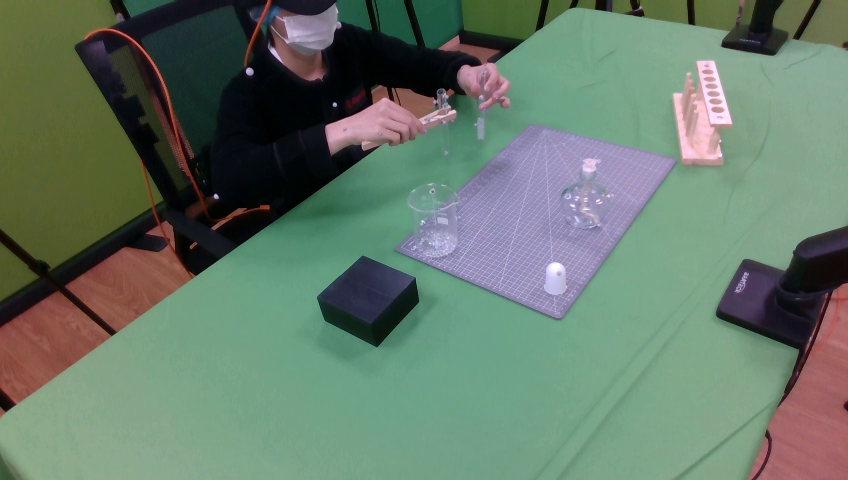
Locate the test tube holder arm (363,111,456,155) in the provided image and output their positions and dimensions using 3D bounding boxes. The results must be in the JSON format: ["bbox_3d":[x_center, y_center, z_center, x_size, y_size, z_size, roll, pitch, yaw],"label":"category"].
[{"bbox_3d":[-0.022,-0.180,1.003,0.179,0.015,0.013,-27,47,-23],"label":"test tube holder arm"}]

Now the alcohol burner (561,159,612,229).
[{"bbox_3d":[0.257,-0.077,0.951,0.078,0.119,0.077,-3,40,3],"label":"alcohol burner"}]

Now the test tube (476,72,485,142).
[{"bbox_3d":[0.103,-0.237,1.092,0.017,0.151,0.017,-2,49,3],"label":"test tube"}]

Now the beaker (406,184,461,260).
[{"bbox_3d":[0.019,-0.026,0.939,0.084,0.101,0.074,1,41,9],"label":"beaker"}]

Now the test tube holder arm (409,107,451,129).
[{"bbox_3d":[0.011,-0.202,1.026,0.088,0.015,0.010,-32,50,-28],"label":"test tube holder arm"}]

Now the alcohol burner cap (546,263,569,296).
[{"bbox_3d":[0.191,0.053,0.862,0.034,0.048,0.033,-5,40,4],"label":"alcohol burner cap"}]

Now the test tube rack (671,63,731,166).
[{"bbox_3d":[0.513,-0.241,1.132,0.066,0.085,0.242,4,41,14],"label":"test tube rack"}]

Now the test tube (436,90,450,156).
[{"bbox_3d":[0.034,-0.199,1.051,0.017,0.151,0.017,-3,55,4],"label":"test tube"}]
